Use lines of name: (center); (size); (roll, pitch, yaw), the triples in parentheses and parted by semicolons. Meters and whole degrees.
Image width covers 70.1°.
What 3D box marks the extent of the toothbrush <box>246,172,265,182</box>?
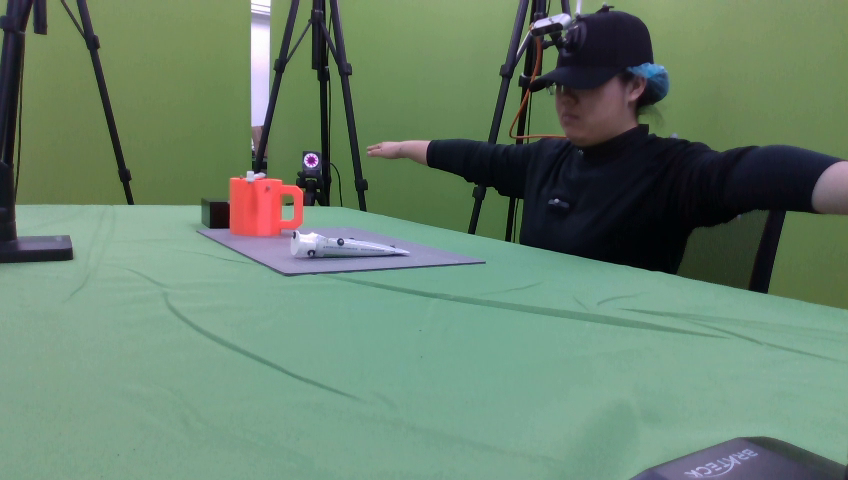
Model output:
toothbrush: (-0.292, -0.112, 1.050); (0.014, 0.016, 0.181); (-4, 8, -8)

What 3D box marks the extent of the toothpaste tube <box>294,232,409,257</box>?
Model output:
toothpaste tube: (-0.103, 0.010, 0.853); (0.166, 0.034, 0.055); (3, 11, -34)

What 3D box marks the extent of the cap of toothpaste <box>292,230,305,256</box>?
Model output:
cap of toothpaste: (-0.169, 0.005, 0.812); (0.011, 0.037, 0.037); (6, 4, -30)

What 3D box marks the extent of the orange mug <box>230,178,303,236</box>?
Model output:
orange mug: (-0.275, -0.060, 1.058); (0.126, 0.101, 0.083); (-2, 8, -5)
